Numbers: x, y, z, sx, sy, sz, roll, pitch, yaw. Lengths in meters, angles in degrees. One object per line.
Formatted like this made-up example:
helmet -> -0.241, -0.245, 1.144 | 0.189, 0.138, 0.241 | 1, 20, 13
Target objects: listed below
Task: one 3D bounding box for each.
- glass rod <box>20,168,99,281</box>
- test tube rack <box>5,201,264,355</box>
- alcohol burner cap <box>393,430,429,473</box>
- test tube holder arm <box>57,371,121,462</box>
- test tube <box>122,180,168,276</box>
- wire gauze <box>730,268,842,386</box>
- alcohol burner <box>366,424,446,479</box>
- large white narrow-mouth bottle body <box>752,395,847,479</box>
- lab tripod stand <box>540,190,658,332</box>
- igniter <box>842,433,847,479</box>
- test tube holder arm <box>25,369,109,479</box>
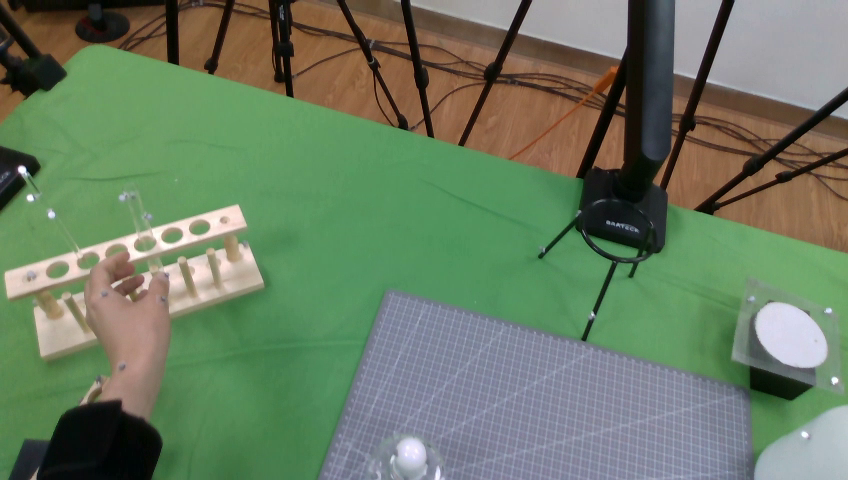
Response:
glass rod -> -0.362, 0.002, 0.620 | 0.008, 0.201, 0.008 | 1, 50, -1
test tube rack -> -0.313, 0.041, 0.680 | 0.243, 0.086, 0.066 | -19, 59, -19
alcohol burner cap -> -0.012, 0.189, 0.547 | 0.034, 0.048, 0.033 | 1, 58, -1
test tube holder arm -> -0.319, 0.166, 0.574 | 0.010, 0.015, 0.087 | 18, 54, 9
test tube -> -0.299, -0.008, 0.656 | 0.017, 0.151, 0.017 | 5, 50, -5
wire gauze -> 0.429, 0.100, 0.714 | 0.121, 0.011, 0.124 | 22, 55, 9
alcohol burner -> -0.015, 0.209, 0.577 | 0.078, 0.120, 0.077 | 5, 54, -6
large white narrow-mouth bottle body -> 0.410, 0.206, 0.583 | 0.102, 0.196, 0.101 | 3, 54, -4
lab tripod stand -> 0.214, 0.019, 0.730 | 0.148, 0.132, 0.147 | 4, 56, -5
igniter -> 0.436, 0.323, 0.606 | 0.057, 0.025, 0.275 | 30, 56, -2
test tube holder arm -> -0.338, 0.198, 0.548 | 0.013, 0.015, 0.177 | 17, 54, 8
